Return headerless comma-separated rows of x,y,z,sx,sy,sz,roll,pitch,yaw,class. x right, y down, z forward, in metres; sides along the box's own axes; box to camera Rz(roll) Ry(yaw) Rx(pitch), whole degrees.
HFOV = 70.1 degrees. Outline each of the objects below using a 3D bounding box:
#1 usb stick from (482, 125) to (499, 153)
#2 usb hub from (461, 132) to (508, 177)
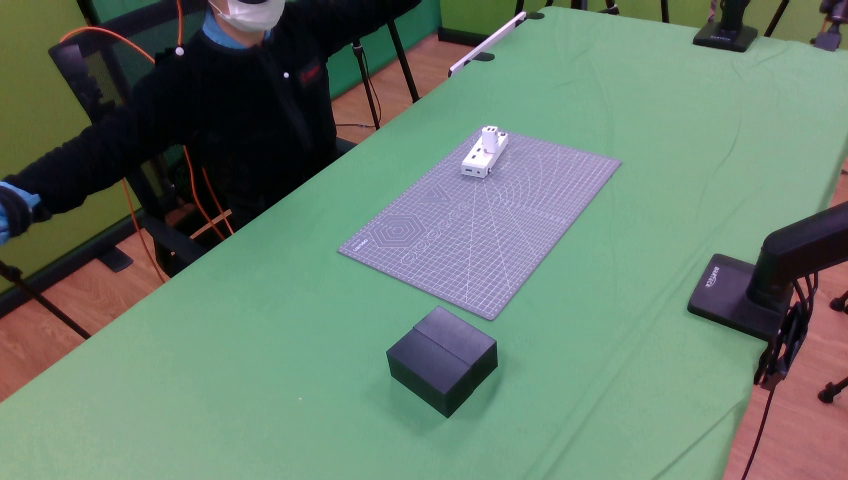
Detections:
0.123,-0.179,1.107,0.027,0.059,0.021,13,43,21,usb stick
0.116,-0.163,1.135,0.049,0.025,0.125,14,45,22,usb hub
